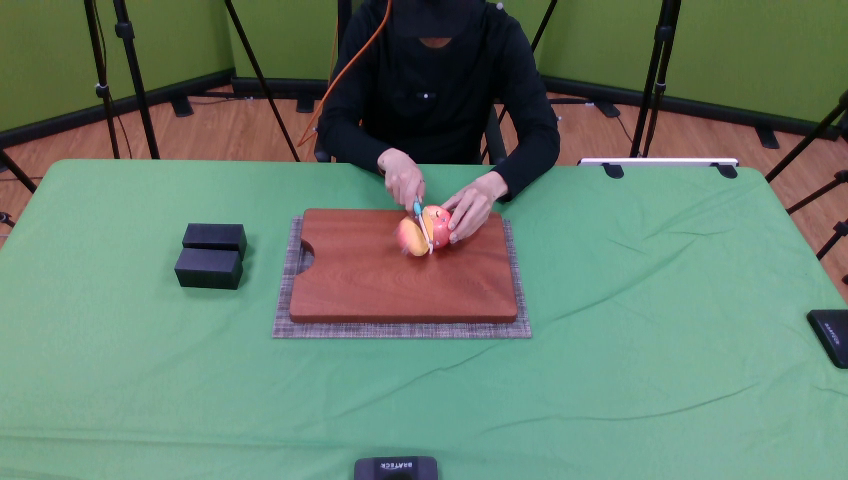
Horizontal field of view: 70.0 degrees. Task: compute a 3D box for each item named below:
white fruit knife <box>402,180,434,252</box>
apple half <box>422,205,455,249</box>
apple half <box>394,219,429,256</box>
[{"bbox_3d":[-0.010,-0.050,1.171,0.016,0.027,0.206,-10,46,-14],"label":"white fruit knife"},{"bbox_3d":[0.030,-0.024,1.146,0.053,0.075,0.080,-6,42,-16],"label":"apple half"},{"bbox_3d":[-0.029,0.002,1.131,0.082,0.033,0.081,35,37,-32],"label":"apple half"}]
